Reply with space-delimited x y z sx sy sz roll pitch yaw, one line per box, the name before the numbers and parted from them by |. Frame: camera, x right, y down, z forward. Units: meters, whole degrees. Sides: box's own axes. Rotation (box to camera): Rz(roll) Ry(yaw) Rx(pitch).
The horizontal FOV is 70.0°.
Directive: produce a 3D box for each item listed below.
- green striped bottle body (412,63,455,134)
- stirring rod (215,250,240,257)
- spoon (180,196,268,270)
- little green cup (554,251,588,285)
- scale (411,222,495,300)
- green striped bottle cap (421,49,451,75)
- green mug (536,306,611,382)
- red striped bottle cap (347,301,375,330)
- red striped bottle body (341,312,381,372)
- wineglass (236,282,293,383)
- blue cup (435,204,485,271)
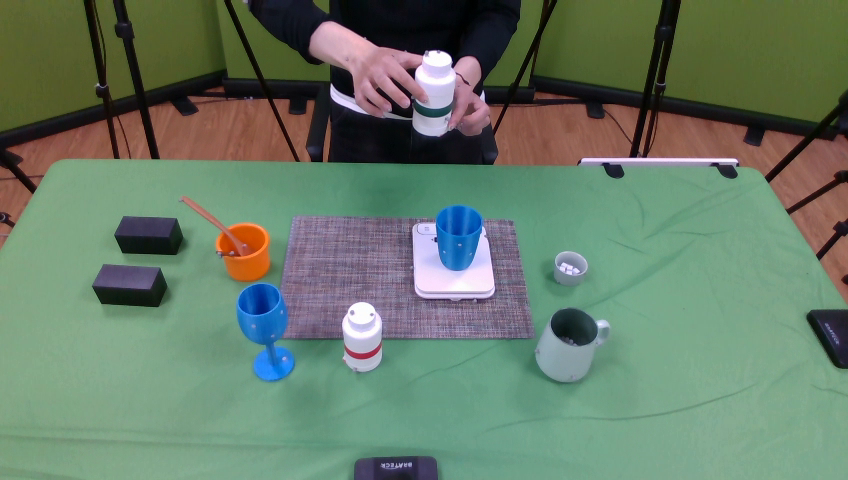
green striped bottle body | 0.015 -0.230 0.943 0.063 0.120 0.063 3 46 -3
stirring rod | -0.340 0.024 1.059 0.014 0.176 0.006 16 86 -6
spoon | -0.359 -0.014 1.094 0.021 0.194 0.041 -28 26 31
little green cup | 0.277 0.055 1.151 0.061 0.039 0.061 1 46 -1
scale | 0.052 0.031 1.158 0.149 0.032 0.199 1 46 -4
green striped bottle cap | 0.018 -0.265 0.905 0.044 0.020 0.044 3 49 -3
green mug | 0.250 0.167 0.996 0.125 0.105 0.092 -15 48 -18
red striped bottle cap | -0.097 0.116 0.934 0.044 0.018 0.044 3 49 -3
red striped bottle body | -0.100 0.154 0.972 0.063 0.120 0.062 2 46 -2
wineglass | -0.243 0.143 0.934 0.074 0.173 0.073 2 46 -2
blue cup | 0.060 0.001 1.097 0.092 0.101 0.092 1 43 -1
